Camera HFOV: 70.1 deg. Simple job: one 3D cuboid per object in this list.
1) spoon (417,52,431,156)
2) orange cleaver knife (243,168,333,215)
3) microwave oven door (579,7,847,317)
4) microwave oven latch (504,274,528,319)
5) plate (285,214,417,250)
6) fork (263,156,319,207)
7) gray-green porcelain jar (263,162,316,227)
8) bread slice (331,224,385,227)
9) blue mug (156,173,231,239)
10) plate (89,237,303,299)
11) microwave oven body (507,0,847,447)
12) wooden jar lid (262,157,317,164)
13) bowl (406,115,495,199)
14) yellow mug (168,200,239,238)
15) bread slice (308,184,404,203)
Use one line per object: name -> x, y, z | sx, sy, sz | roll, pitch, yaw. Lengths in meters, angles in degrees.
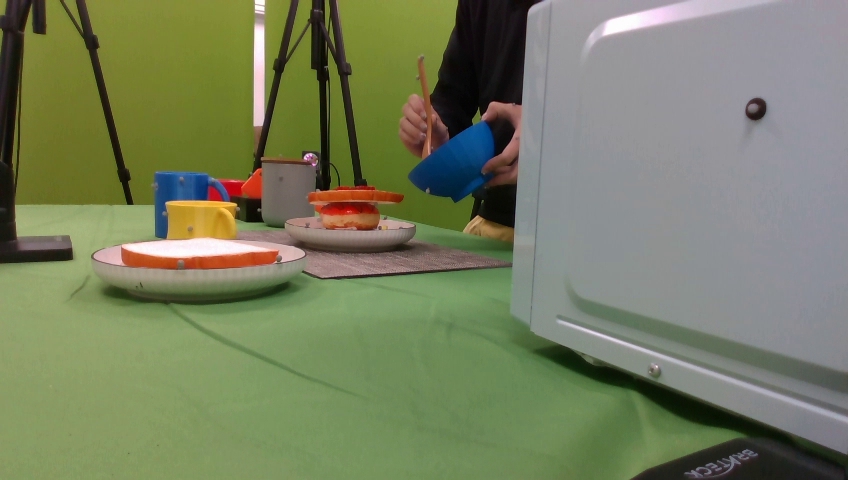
spoon -> 0.003, -0.188, 0.922 | 0.022, 0.193, 0.041 | -3, 3, -9
orange cleaver knife -> -0.300, -0.089, 1.351 | 0.212, 0.077, 0.012 | 29, -9, -34
microwave oven door -> 0.294, -0.067, 0.570 | 0.358, 0.243, 0.039 | -3, 9, -31
microwave oven latch -> 0.100, 0.041, 0.471 | 0.079, 0.029, 0.030 | -1, 7, -28
plate -> -0.116, -0.014, 0.964 | 0.209, 0.038, 0.209 | 2, 7, 0
fork -> -0.331, -0.144, 1.505 | 0.207, 0.018, 0.028 | -42, -21, 22
gray-green porcelain jar -> -0.271, -0.092, 1.217 | 0.106, 0.126, 0.106 | 2, 7, 0
bread slice -> -0.103, -0.010, 0.961 | 0.131, 0.019, 0.105 | 4, 9, 24
blue mug -> -0.381, -0.057, 1.004 | 0.117, 0.106, 0.082 | 0, 8, -12
plate -> -0.233, 0.029, 0.637 | 0.208, 0.039, 0.207 | 2, 7, 0
microwave oven body -> 0.331, -0.042, 0.425 | 0.444, 0.260, 0.324 | -2, 8, -31
wooden jar lid -> -0.269, -0.154, 1.208 | 0.108, 0.020, 0.108 | 3, 4, 0
bowl -> 0.056, -0.115, 0.930 | 0.151, 0.077, 0.151 | -35, -1, 0
yellow mug -> -0.320, -0.023, 0.904 | 0.130, 0.064, 0.100 | 9, 11, 36
bread slice -> -0.114, -0.072, 0.953 | 0.134, 0.018, 0.107 | -3, -1, 21
